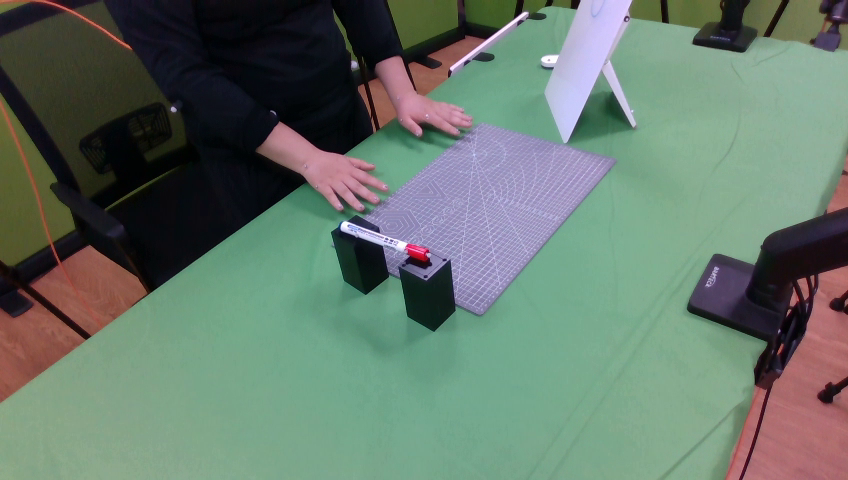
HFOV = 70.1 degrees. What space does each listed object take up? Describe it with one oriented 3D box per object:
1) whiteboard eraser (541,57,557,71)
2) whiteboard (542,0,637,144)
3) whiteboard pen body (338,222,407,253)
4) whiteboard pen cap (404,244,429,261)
[{"bbox_3d":[0.323,-0.412,1.407,0.101,0.019,0.041,1,42,11],"label":"whiteboard eraser"},{"bbox_3d":[0.366,-0.351,1.160,0.144,0.305,0.216,10,39,-10],"label":"whiteboard"},{"bbox_3d":[-0.061,-0.001,0.828,0.139,0.017,0.017,18,46,28],"label":"whiteboard pen body"},{"bbox_3d":[-0.010,0.015,0.801,0.032,0.017,0.017,18,46,29],"label":"whiteboard pen cap"}]
